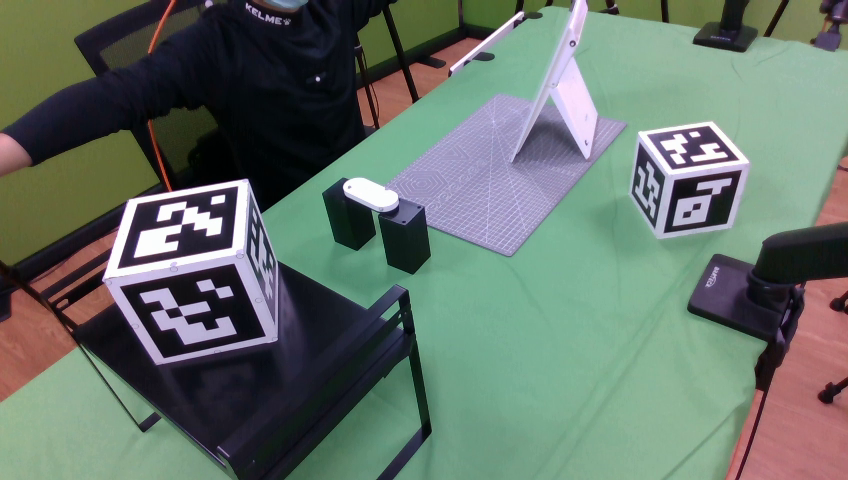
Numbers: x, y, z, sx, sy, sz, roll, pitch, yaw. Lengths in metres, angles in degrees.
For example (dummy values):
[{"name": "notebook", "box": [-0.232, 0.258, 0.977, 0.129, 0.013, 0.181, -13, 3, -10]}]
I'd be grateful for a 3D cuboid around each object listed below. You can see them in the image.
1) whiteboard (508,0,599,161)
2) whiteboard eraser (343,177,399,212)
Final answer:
[{"name": "whiteboard", "box": [0.284, -0.289, 1.090, 0.144, 0.305, 0.217, 22, 45, 3]}, {"name": "whiteboard eraser", "box": [-0.081, -0.069, 0.909, 0.100, 0.019, 0.041, 25, 50, 34]}]
